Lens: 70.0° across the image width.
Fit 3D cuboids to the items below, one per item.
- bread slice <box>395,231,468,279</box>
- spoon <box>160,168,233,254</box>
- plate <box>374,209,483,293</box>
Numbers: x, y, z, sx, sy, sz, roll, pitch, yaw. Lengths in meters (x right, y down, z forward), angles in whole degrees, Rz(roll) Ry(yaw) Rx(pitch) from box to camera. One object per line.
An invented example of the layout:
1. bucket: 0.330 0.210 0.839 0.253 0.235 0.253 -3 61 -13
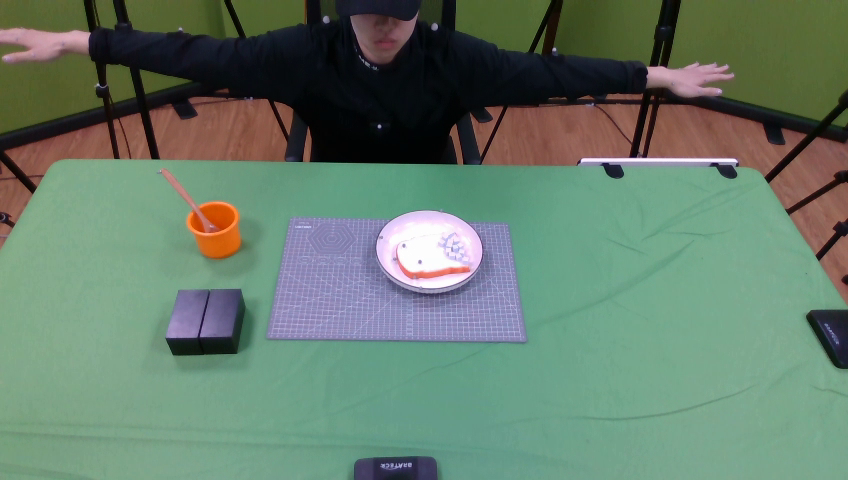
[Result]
1. bread slice: 0.011 0.030 1.158 0.132 0.019 0.104 -8 47 -14
2. spoon: -0.424 -0.055 1.130 0.041 0.194 0.021 -42 18 -31
3. plate: 0.009 0.024 1.160 0.209 0.038 0.208 2 46 -2
